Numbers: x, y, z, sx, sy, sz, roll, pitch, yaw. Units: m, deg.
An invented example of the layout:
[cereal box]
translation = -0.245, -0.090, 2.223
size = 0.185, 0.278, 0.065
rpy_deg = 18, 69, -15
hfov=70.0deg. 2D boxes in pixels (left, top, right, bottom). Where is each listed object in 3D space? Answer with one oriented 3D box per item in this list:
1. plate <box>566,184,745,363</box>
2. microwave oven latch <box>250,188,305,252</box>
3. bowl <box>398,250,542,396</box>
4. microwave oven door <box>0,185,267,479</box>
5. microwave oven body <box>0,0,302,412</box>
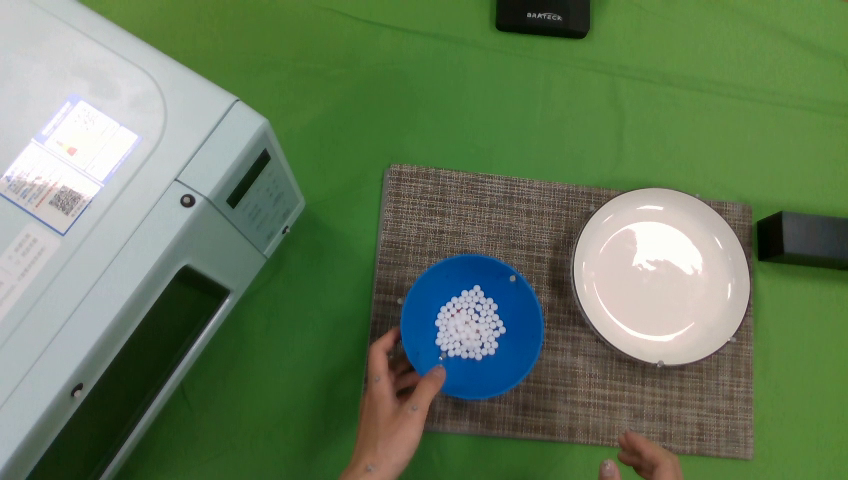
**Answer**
[plate]
translation = 0.265, 0.039, 0.706
size = 0.208, 0.039, 0.206
rpy_deg = 1, 78, -4
[microwave oven latch]
translation = -0.164, -0.027, 0.673
size = 0.030, 0.029, 0.079
rpy_deg = 33, 78, 3
[bowl]
translation = 0.046, 0.092, 0.657
size = 0.151, 0.077, 0.150
rpy_deg = 1, 78, -4
[microwave oven door]
translation = -0.274, 0.130, 0.527
size = 0.039, 0.244, 0.355
rpy_deg = 31, 78, 4
[microwave oven body]
translation = -0.377, 0.020, 0.548
size = 0.326, 0.261, 0.440
rpy_deg = 32, 78, 2
